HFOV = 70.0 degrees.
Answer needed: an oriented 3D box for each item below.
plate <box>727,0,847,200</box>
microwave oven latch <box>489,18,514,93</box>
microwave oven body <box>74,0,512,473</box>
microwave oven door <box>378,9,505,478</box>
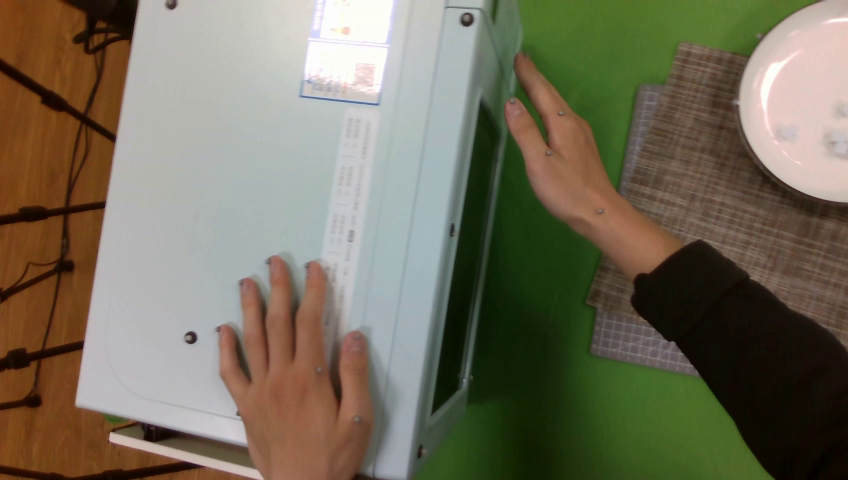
[{"bbox_3d":[0.410,-0.140,0.596,0.208,0.038,0.208,-1,87,13],"label":"plate"},{"bbox_3d":[0.081,-0.203,0.661,0.030,0.029,0.079,8,90,13],"label":"microwave oven latch"},{"bbox_3d":[-0.110,-0.053,0.601,0.325,0.261,0.441,8,90,13],"label":"microwave oven body"},{"bbox_3d":[0.024,0.008,0.563,0.039,0.244,0.355,8,89,14],"label":"microwave oven door"}]
